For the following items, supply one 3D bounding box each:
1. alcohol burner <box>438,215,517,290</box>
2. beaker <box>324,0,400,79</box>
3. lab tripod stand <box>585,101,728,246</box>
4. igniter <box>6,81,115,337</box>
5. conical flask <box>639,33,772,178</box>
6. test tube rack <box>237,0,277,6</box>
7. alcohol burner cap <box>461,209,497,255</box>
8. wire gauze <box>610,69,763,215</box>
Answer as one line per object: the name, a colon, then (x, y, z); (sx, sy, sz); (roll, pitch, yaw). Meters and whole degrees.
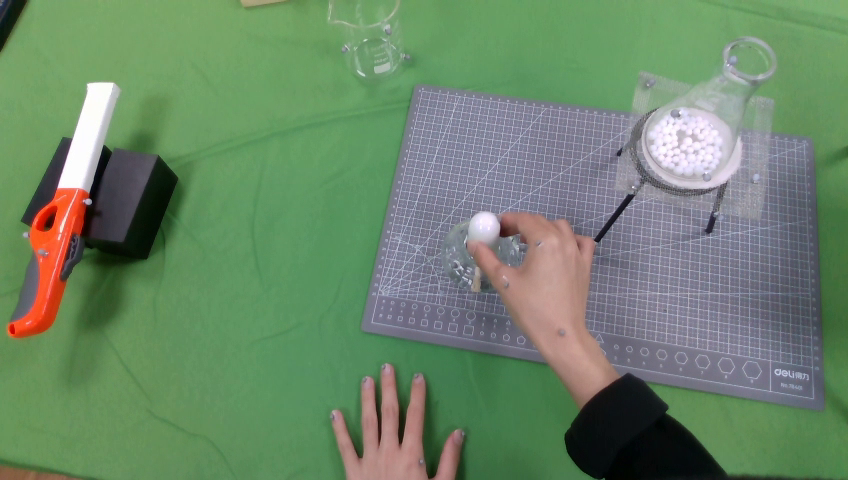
alcohol burner: (0.052, 0.005, 0.577); (0.078, 0.120, 0.077); (0, 68, 0)
beaker: (-0.067, -0.235, 0.680); (0.084, 0.101, 0.073); (-31, 71, -9)
lab tripod stand: (0.226, -0.060, 0.586); (0.148, 0.132, 0.147); (0, 68, 0)
igniter: (-0.357, -0.039, 0.602); (0.057, 0.025, 0.274); (1, 69, 7)
conical flask: (0.221, -0.106, 0.469); (0.075, 0.122, 0.075); (0, 69, 1)
test tube rack: (-0.118, -0.358, 0.734); (0.242, 0.086, 0.066); (-10, 70, -2)
alcohol burner cap: (0.050, -0.010, 0.543); (0.034, 0.048, 0.033); (0, 65, 1)
wire gauze: (0.232, -0.086, 0.525); (0.121, 0.011, 0.124); (15, 69, 4)
